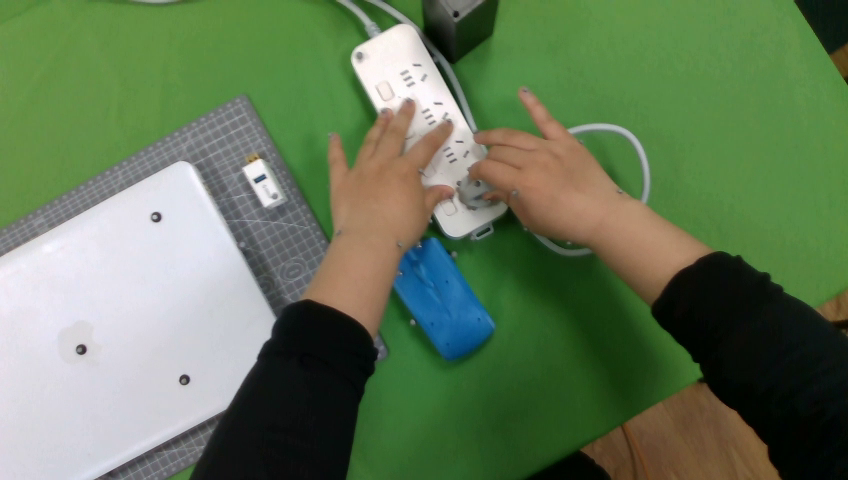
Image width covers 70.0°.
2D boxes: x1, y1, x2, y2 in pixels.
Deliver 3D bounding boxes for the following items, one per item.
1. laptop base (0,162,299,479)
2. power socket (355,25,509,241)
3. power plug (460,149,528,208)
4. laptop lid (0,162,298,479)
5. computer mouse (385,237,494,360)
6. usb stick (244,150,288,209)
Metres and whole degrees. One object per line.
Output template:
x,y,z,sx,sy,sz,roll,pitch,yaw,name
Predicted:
-0.328,0.104,0.598,0.354,0.023,0.235,-28,91,0,laptop base
0.007,-0.103,0.591,0.072,0.032,0.226,-28,86,2,power socket
0.068,-0.055,0.560,0.072,0.052,0.035,-19,93,14,power plug
-0.327,0.106,0.586,0.357,0.013,0.241,-27,90,0,laptop lid
0.014,0.055,0.583,0.063,0.041,0.117,-34,82,2,computer mouse
-0.158,-0.061,0.594,0.021,0.027,0.059,-27,87,3,usb stick
